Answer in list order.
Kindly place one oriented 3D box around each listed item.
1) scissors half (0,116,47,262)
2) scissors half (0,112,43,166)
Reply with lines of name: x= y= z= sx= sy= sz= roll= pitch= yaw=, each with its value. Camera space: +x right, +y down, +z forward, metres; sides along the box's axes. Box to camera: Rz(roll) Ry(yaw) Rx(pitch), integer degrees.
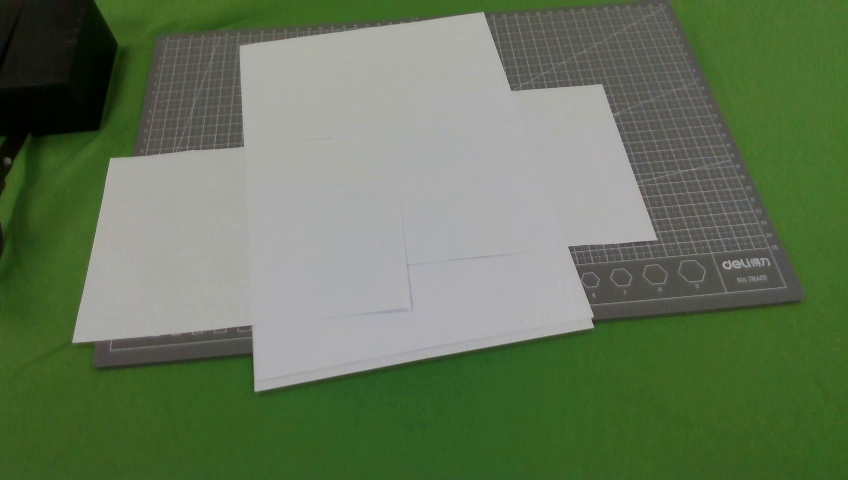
scissors half: x=-0.296 y=-0.036 z=0.428 sx=0.013 sy=0.040 sz=0.173 roll=-8 pitch=49 yaw=1
scissors half: x=-0.298 y=-0.050 z=0.415 sx=0.013 sy=0.040 sz=0.173 roll=-5 pitch=35 yaw=-3
